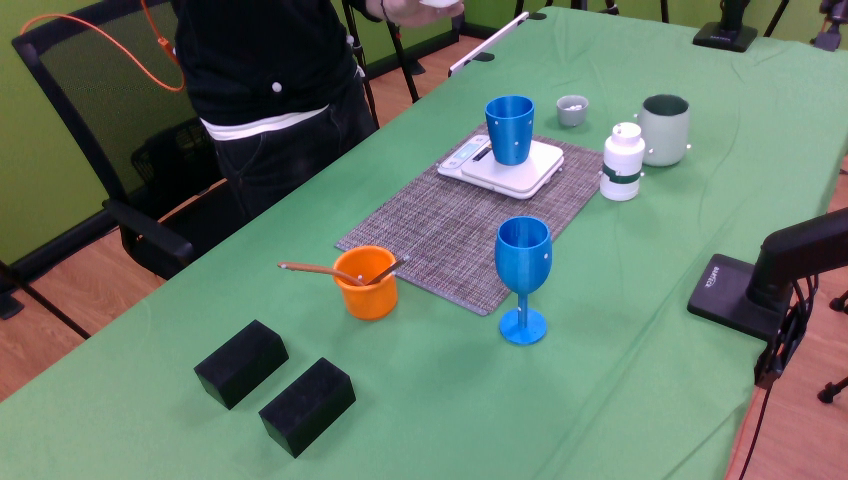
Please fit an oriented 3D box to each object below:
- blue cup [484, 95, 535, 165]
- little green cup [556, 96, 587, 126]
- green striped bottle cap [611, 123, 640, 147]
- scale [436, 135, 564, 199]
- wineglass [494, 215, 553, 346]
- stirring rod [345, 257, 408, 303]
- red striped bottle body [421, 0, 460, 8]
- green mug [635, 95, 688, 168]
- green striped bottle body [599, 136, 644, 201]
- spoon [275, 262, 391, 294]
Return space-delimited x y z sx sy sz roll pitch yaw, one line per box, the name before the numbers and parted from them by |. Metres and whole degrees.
blue cup | 0.150 -0.188 1.053 0.092 0.100 0.092 -6 39 5
little green cup | 0.295 -0.258 1.214 0.061 0.039 0.061 -4 42 4
green striped bottle cap | 0.322 -0.168 0.963 0.044 0.020 0.044 -3 42 3
scale | 0.137 -0.142 1.101 0.199 0.032 0.149 22 48 30
wineglass | 0.127 0.054 0.770 0.074 0.173 0.073 -4 40 4
stirring rod | -0.067 0.057 0.815 0.014 0.175 0.006 -23 82 -37
red striped bottle body | 0.021 -0.400 0.859 0.063 0.120 0.062 -3 48 4
green mug | 0.421 -0.201 1.081 0.092 0.105 0.125 5 42 15
green striped bottle body | 0.326 -0.128 0.997 0.063 0.120 0.063 -4 41 4
spoon | -0.120 0.050 0.830 0.041 0.195 0.021 31 97 45
